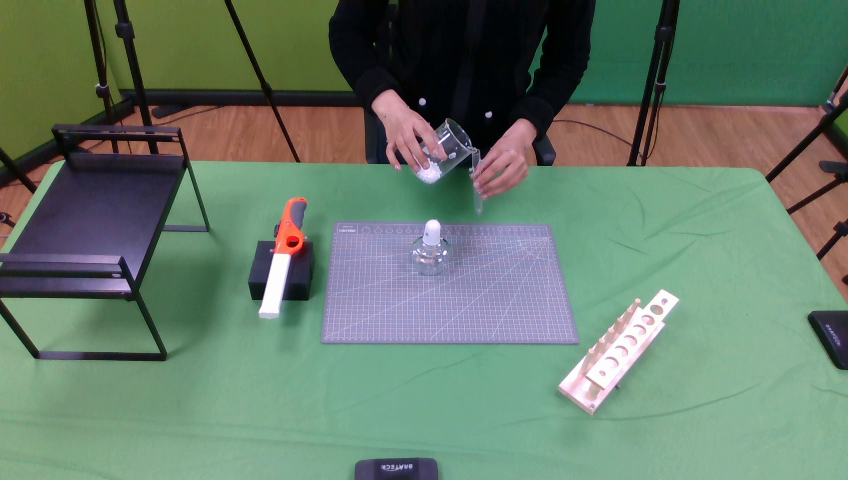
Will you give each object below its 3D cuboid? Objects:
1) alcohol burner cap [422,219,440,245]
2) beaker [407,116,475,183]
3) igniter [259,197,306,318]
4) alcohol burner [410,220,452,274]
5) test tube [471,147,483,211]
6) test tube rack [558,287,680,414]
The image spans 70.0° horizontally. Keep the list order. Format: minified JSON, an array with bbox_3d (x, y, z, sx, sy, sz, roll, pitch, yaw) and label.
[{"bbox_3d":[0.014,-0.018,1.094,0.034,0.048,0.033,5,44,-5],"label":"alcohol burner cap"},{"bbox_3d":[0.028,-0.151,1.044,0.084,0.100,0.073,24,36,-47],"label":"beaker"},{"bbox_3d":[-0.252,0.021,1.087,0.057,0.025,0.275,4,48,-2],"label":"igniter"},{"bbox_3d":[0.013,0.008,1.120,0.078,0.120,0.077,1,48,-1],"label":"alcohol burner"},{"bbox_3d":[0.098,-0.109,1.115,0.017,0.151,0.017,-4,47,5],"label":"test tube"},{"bbox_3d":[0.327,0.170,1.009,0.066,0.085,0.242,36,54,27],"label":"test tube rack"}]
